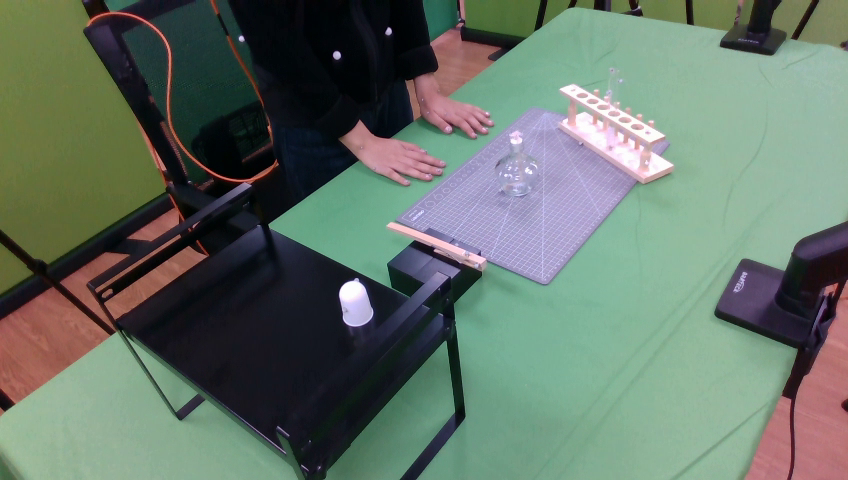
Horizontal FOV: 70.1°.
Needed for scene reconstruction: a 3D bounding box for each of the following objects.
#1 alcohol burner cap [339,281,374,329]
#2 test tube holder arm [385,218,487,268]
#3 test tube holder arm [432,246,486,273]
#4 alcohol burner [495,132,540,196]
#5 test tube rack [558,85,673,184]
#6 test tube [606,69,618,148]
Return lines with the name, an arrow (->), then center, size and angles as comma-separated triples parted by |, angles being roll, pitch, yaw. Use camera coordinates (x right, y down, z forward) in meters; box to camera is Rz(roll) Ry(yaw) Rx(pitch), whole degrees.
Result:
alcohol burner cap -> -0.071, 0.063, 0.617 | 0.034, 0.048, 0.033 | -5, 39, 4
test tube holder arm -> 0.014, 0.003, 0.888 | 0.177, 0.013, 0.015 | 26, 40, 28
test tube holder arm -> 0.050, 0.024, 0.870 | 0.087, 0.010, 0.015 | 26, 40, 29
alcohol burner -> 0.159, -0.135, 1.035 | 0.078, 0.119, 0.077 | -5, 42, 5
test tube rack -> 0.347, -0.203, 1.109 | 0.067, 0.085, 0.240 | -22, 42, -17
test tube -> 0.330, -0.228, 1.064 | 0.017, 0.151, 0.017 | -7, 39, 6
